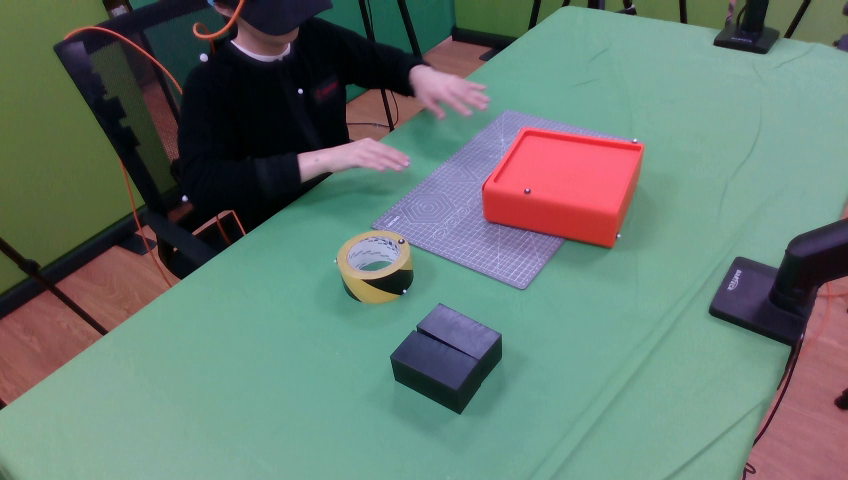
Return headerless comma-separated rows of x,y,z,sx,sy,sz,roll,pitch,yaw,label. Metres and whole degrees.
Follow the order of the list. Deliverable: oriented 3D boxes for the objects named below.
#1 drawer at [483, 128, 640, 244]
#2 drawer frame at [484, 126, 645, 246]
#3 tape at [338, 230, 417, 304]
0.230,-0.096,1.006,0.210,0.073,0.194,14,44,23,drawer
0.234,-0.096,1.003,0.212,0.083,0.202,14,44,22,drawer frame
-0.069,0.041,0.917,0.117,0.053,0.116,-4,41,4,tape
